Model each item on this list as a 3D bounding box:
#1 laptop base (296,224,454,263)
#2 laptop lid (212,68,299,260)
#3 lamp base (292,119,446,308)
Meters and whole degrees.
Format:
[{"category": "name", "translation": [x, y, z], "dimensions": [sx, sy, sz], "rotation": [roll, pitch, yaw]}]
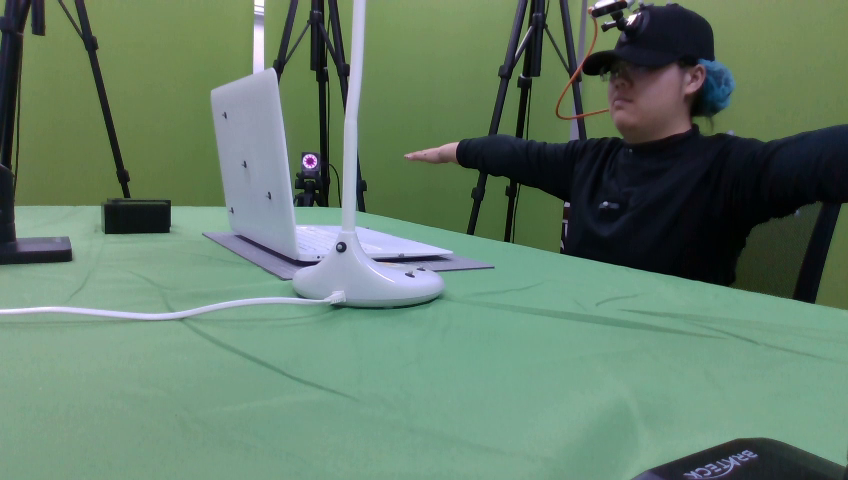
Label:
[{"category": "laptop base", "translation": [-0.143, 0.003, 0.957], "dimensions": [0.237, 0.023, 0.352], "rotation": [2, 6, -32]}, {"category": "laptop lid", "translation": [-0.254, -0.111, 0.872], "dimensions": [0.013, 0.241, 0.355], "rotation": [-11, 14, -30]}, {"category": "lamp base", "translation": [-0.056, -0.030, 0.616], "dimensions": [0.160, 0.180, 0.179], "rotation": [3, 10, 8]}]
